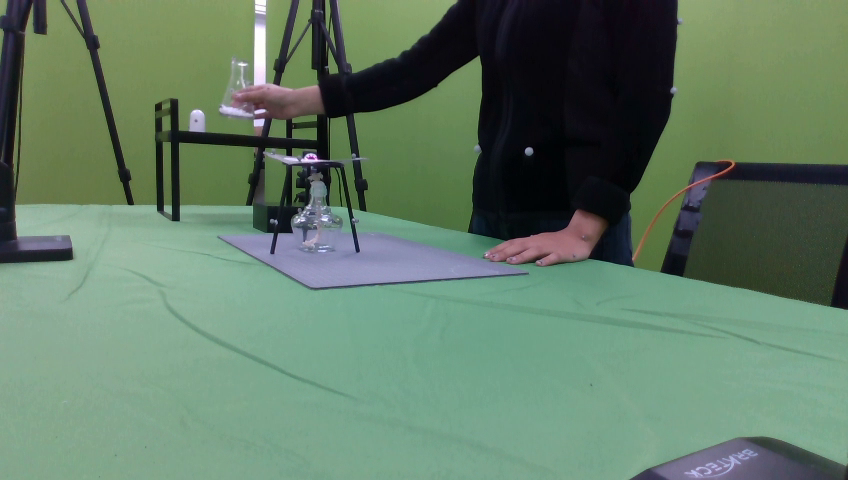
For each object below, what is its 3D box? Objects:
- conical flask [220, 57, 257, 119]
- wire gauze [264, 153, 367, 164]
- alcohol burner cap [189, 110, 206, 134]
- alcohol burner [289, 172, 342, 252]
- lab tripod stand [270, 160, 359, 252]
[{"bbox_3d":[-0.385,-0.318,1.269,0.075,0.122,0.075,8,8,-1],"label":"conical flask"},{"bbox_3d":[-0.160,-0.118,0.888,0.122,0.011,0.124,-3,10,-32],"label":"wire gauze"},{"bbox_3d":[-0.464,-0.242,1.240,0.034,0.048,0.034,4,7,0],"label":"alcohol burner cap"},{"bbox_3d":[-0.160,-0.042,0.899,0.078,0.119,0.078,4,9,0],"label":"alcohol burner"},{"bbox_3d":[-0.167,-0.051,0.892,0.148,0.131,0.148,4,9,0],"label":"lab tripod stand"}]
